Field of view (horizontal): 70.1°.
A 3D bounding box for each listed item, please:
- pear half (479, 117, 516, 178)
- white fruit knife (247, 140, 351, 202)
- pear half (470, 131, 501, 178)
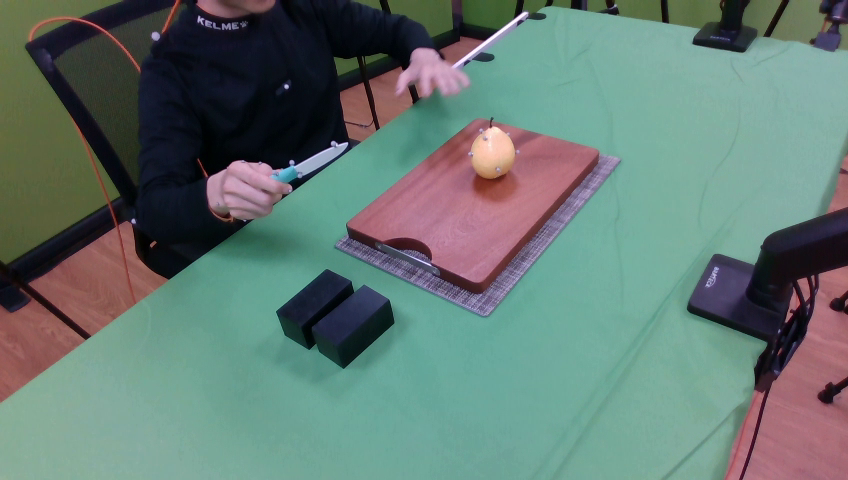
[{"bbox_3d":[0.126,-0.166,1.031,0.056,0.110,0.075,-34,51,-29],"label":"pear half"},{"bbox_3d":[-0.163,-0.087,0.763,0.206,0.028,0.016,-21,63,37],"label":"white fruit knife"},{"bbox_3d":[0.099,-0.141,1.022,0.031,0.088,0.070,-35,54,-30],"label":"pear half"}]
